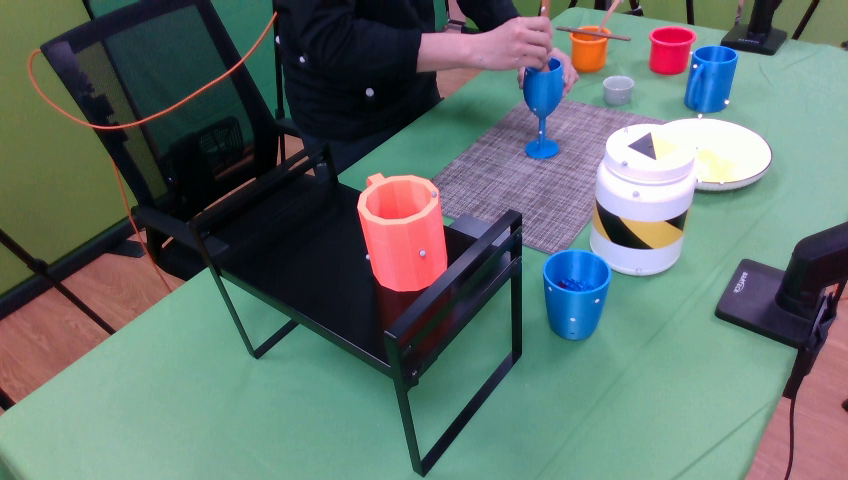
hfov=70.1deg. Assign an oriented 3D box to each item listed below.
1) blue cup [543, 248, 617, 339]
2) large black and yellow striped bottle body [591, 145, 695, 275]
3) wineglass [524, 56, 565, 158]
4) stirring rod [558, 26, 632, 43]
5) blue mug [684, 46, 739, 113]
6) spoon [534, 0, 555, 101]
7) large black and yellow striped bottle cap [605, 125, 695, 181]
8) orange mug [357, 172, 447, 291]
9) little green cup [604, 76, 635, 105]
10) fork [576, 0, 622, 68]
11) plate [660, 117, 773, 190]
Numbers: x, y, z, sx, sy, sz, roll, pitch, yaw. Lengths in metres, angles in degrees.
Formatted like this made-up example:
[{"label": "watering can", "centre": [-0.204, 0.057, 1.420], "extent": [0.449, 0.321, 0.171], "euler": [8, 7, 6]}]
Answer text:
[{"label": "blue cup", "centre": [0.199, 0.076, 0.797], "extent": [0.092, 0.100, 0.092], "euler": [-4, 39, 4]}, {"label": "large black and yellow striped bottle body", "centre": [0.313, -0.056, 0.871], "extent": [0.131, 0.185, 0.130], "euler": [-4, 40, 4]}, {"label": "wineglass", "centre": [0.218, -0.240, 1.101], "extent": [0.074, 0.173, 0.073], "euler": [-5, 41, 4]}, {"label": "stirring rod", "centre": [0.381, -0.462, 1.356], "extent": [0.175, 0.006, 0.014], "euler": [22, 49, 30]}, {"label": "blue mug", "centre": [0.556, -0.310, 1.190], "extent": [0.117, 0.106, 0.081], "euler": [-32, 46, -25]}, {"label": "spoon", "centre": [0.203, -0.322, 1.021], "extent": [0.042, 0.194, 0.021], "euler": [-16, 37, -9]}, {"label": "large black and yellow striped bottle cap", "centre": [0.304, -0.120, 0.817], "extent": [0.115, 0.019, 0.114], "euler": [-3, 41, 3]}, {"label": "orange mug", "centre": [-0.030, -0.018, 0.669], "extent": [0.084, 0.101, 0.125], "euler": [-23, 47, -16]}, {"label": "little green cup", "centre": [0.408, -0.311, 1.266], "extent": [0.061, 0.039, 0.061], "euler": [-4, 40, 4]}, {"label": "fork", "centre": [0.409, -0.484, 1.381], "extent": [0.028, 0.019, 0.207], "euler": [37, 101, 46]}, {"label": "plate", "centre": [0.495, -0.149, 1.063], "extent": [0.209, 0.038, 0.208], "euler": [-5, 40, 5]}]
